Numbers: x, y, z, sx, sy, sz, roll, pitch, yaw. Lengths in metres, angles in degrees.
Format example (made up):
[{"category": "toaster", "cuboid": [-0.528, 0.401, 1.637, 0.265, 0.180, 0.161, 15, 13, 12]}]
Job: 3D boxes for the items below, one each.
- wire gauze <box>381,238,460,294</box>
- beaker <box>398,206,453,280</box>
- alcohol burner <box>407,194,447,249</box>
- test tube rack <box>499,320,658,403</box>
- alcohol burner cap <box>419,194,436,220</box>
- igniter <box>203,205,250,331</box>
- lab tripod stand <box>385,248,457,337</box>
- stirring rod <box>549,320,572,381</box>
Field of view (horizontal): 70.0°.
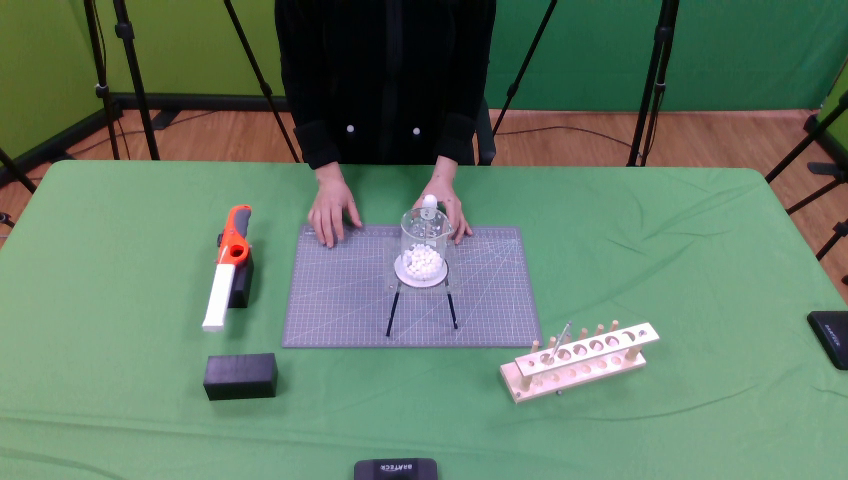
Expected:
[{"category": "wire gauze", "cuboid": [-0.007, 0.042, 0.985, 0.125, 0.011, 0.120, -1, 43, -2]}, {"category": "beaker", "cuboid": [0.000, 0.008, 0.950, 0.084, 0.101, 0.073, 10, 45, 6]}, {"category": "alcohol burner", "cuboid": [0.006, -0.040, 1.170, 0.078, 0.120, 0.077, 1, 46, -1]}, {"category": "test tube rack", "cuboid": [0.252, 0.187, 0.994, 0.243, 0.085, 0.066, -12, 48, -15]}, {"category": "alcohol burner cap", "cuboid": [0.008, -0.065, 1.144, 0.034, 0.048, 0.033, 4, 44, -3]}, {"category": "igniter", "cuboid": [-0.345, 0.039, 1.065, 0.057, 0.025, 0.274, 2, 48, -6]}, {"category": "lab tripod stand", "cuboid": [-0.010, 0.087, 1.032, 0.148, 0.132, 0.147, 1, 45, -1]}, {"category": "stirring rod", "cuboid": [0.202, 0.167, 0.901, 0.006, 0.177, 0.014, -17, 54, -11]}]
